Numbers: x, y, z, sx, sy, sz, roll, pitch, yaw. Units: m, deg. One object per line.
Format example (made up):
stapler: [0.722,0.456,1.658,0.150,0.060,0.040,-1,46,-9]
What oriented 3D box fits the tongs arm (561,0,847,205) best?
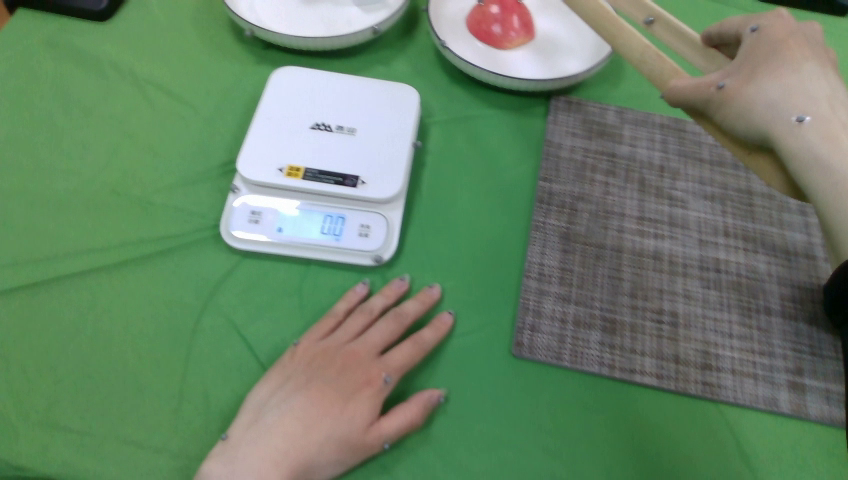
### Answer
tongs arm: [0.176,-0.164,0.498,0.028,0.028,0.383,-15,53,-24]

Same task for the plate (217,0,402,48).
plate: [-0.125,-0.280,0.671,0.208,0.039,0.205,2,57,-3]

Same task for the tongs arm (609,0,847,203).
tongs arm: [0.197,-0.170,0.507,0.051,0.027,0.380,-21,55,-24]

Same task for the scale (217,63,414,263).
scale: [-0.091,-0.076,0.546,0.149,0.032,0.199,7,57,0]

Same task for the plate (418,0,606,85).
plate: [0.097,-0.239,0.664,0.209,0.038,0.207,2,57,-3]

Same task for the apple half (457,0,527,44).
apple half: [0.079,-0.252,0.665,0.081,0.033,0.080,1,54,-1]

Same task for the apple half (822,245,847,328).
apple half: [0.354,0.042,0.481,0.053,0.075,0.080,-23,65,-13]
